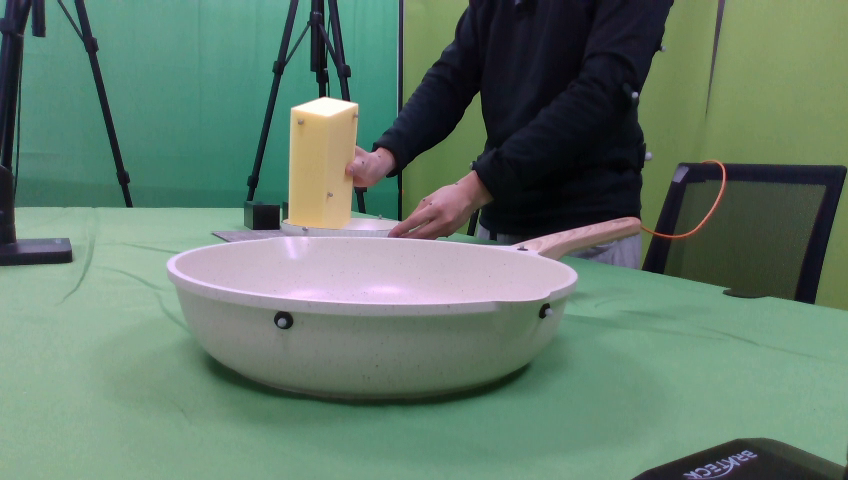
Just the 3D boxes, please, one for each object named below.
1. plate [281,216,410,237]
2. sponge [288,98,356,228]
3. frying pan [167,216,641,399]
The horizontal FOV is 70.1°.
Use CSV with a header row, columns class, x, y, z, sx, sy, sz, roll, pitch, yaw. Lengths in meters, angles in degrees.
class,x,y,z,sx,sy,sz,roll,pitch,yaw
plate,-0.126,-0.012,0.986,0.208,0.039,0.207,2,7,0
sponge,-0.162,-0.112,0.960,0.061,0.207,0.118,12,25,11
frying pan,0.046,0.024,0.519,0.490,0.102,0.305,-14,16,-37
